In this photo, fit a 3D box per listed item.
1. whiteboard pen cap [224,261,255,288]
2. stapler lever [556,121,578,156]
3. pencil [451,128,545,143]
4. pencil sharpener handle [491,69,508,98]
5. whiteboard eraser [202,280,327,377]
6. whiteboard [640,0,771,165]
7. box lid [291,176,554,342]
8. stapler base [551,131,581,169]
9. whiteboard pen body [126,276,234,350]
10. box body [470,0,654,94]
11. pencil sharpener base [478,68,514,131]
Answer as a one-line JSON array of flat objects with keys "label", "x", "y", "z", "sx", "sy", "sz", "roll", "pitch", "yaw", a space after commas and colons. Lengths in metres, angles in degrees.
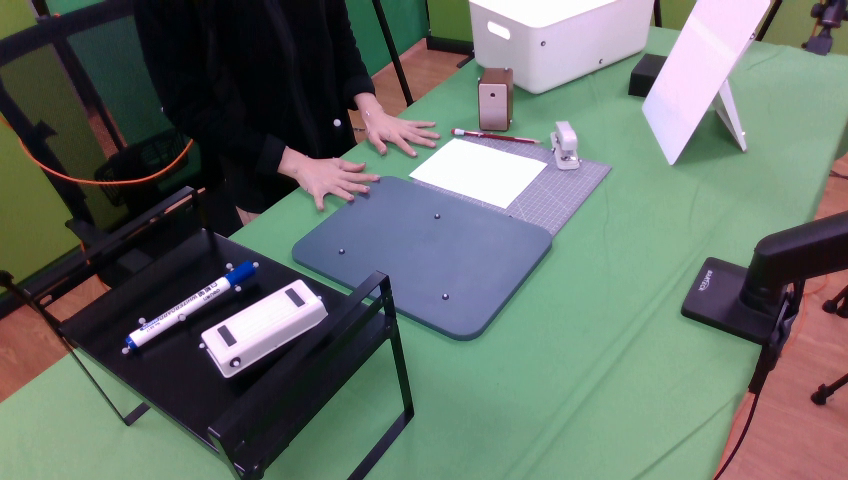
[{"label": "whiteboard pen cap", "x": -0.207, "y": 0.039, "z": 0.677, "sx": 0.033, "sy": 0.018, "sz": 0.018, "roll": -36, "pitch": 47, "yaw": -18}, {"label": "stapler lever", "x": 0.266, "y": -0.198, "z": 1.128, "sx": 0.027, "sy": 0.040, "sz": 0.117, "roll": 0, "pitch": 38, "yaw": 3}, {"label": "pencil", "x": 0.145, "y": -0.207, "z": 1.205, "sx": 0.193, "sy": 0.012, "sz": 0.012, "roll": 11, "pitch": 44, "yaw": 20}, {"label": "pencil sharpener handle", "x": 0.155, "y": -0.329, "z": 1.254, "sx": 0.036, "sy": 0.068, "sz": 0.030, "roll": 17, "pitch": 43, "yaw": 3}, {"label": "whiteboard eraser", "x": -0.156, "y": 0.088, "z": 0.600, "sx": 0.113, "sy": 0.042, "sz": 0.055, "roll": -30, "pitch": 47, "yaw": -24}, {"label": "whiteboard", "x": 0.543, "y": -0.299, "z": 1.076, "sx": 0.144, "sy": 0.305, "sz": 0.216, "roll": 12, "pitch": 40, "yaw": -7}, {"label": "box lid", "x": -0.005, "y": 0.011, "z": 0.972, "sx": 0.368, "sy": 0.015, "sz": 0.264, "roll": 21, "pitch": 49, "yaw": 30}, {"label": "stapler base", "x": 0.268, "y": -0.178, "z": 1.142, "sx": 0.041, "sy": 0.024, "sz": 0.130, "roll": 0, "pitch": 37, "yaw": 3}, {"label": "whiteboard pen body", "x": -0.251, "y": 0.071, "z": 0.649, "sx": 0.141, "sy": 0.017, "sz": 0.017, "roll": -36, "pitch": 48, "yaw": -26}, {"label": "box body", "x": 0.319, "y": -0.498, "z": 1.405, "sx": 0.365, "sy": 0.161, "sz": 0.252, "roll": -26, "pitch": 43, "yaw": -21}, {"label": "pencil sharpener base", "x": 0.148, "y": -0.286, "z": 1.225, "sx": 0.061, "sy": 0.107, "sz": 0.076, "roll": 5, "pitch": 41, "yaw": 15}]
